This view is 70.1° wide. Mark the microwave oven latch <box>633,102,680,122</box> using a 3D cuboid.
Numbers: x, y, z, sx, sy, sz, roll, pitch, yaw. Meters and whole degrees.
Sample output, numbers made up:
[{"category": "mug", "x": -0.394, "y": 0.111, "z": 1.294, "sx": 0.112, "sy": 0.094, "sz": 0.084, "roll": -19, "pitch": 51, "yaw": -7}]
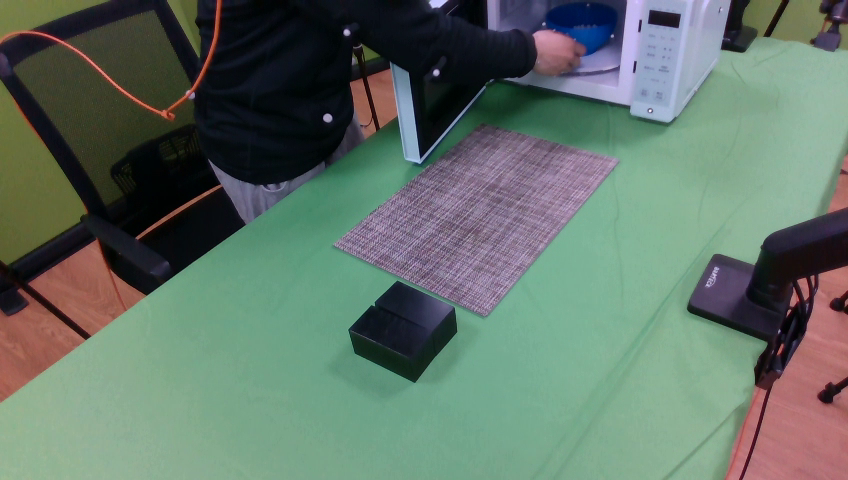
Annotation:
[{"category": "microwave oven latch", "x": 0.443, "y": -0.249, "z": 1.157, "sx": 0.078, "sy": 0.029, "sz": 0.030, "roll": 22, "pitch": 49, "yaw": 30}]

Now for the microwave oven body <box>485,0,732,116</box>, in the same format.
[{"category": "microwave oven body", "x": 0.377, "y": -0.463, "z": 1.267, "sx": 0.438, "sy": 0.261, "sz": 0.327, "roll": 21, "pitch": 49, "yaw": 30}]

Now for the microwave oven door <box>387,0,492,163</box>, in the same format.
[{"category": "microwave oven door", "x": 0.044, "y": -0.346, "z": 1.172, "sx": 0.039, "sy": 0.245, "sz": 0.356, "roll": 14, "pitch": 45, "yaw": 24}]
